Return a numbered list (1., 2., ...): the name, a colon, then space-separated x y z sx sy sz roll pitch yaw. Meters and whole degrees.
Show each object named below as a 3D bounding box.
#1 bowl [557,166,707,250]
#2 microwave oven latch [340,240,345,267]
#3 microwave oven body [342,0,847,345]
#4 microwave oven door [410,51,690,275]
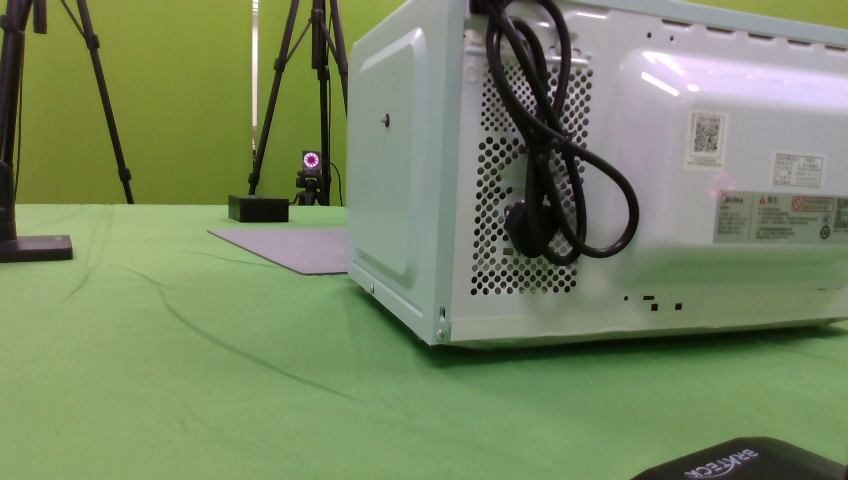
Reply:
1. bowl: 0.214 -0.035 0.640 0.151 0.077 0.151 2 11 0
2. microwave oven latch: -0.052 0.016 0.662 0.079 0.029 0.030 1 7 -18
3. microwave oven body: 0.169 -0.060 0.573 0.444 0.260 0.324 1 7 -20
4. microwave oven door: 0.161 -0.084 0.723 0.357 0.243 0.039 0 8 -20
